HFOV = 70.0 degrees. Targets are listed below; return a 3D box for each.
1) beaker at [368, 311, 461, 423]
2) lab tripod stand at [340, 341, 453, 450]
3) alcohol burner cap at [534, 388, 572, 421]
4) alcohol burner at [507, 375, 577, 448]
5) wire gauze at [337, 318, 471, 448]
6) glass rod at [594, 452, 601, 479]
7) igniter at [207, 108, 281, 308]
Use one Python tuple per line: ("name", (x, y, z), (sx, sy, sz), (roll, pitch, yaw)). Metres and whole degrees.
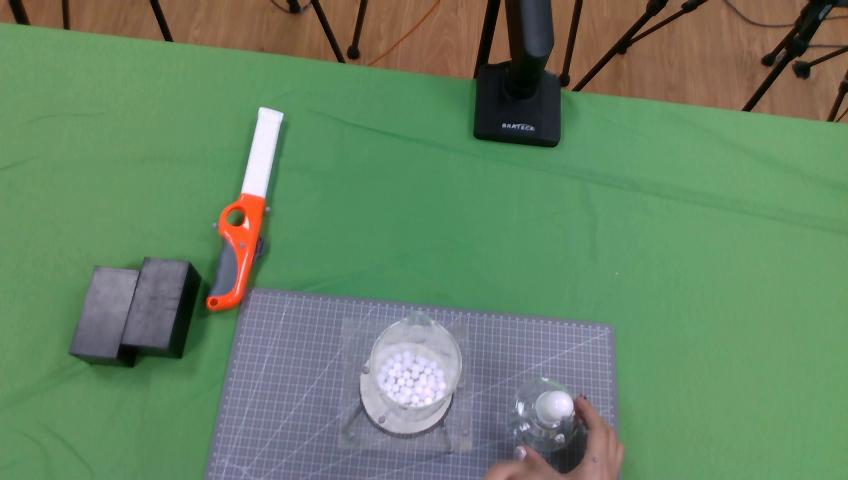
("beaker", (-0.011, 0.114, 0.523), (0.074, 0.101, 0.083), (3, 65, -3))
("lab tripod stand", (-0.023, 0.160, 0.628), (0.148, 0.132, 0.147), (1, 66, -3))
("alcohol burner cap", (0.132, 0.165, 0.611), (0.034, 0.048, 0.033), (2, 71, -5))
("alcohol burner", (0.129, 0.179, 0.645), (0.078, 0.120, 0.077), (1, 65, -3))
("wire gauze", (-0.018, 0.131, 0.568), (0.125, 0.011, 0.120), (2, 65, -3))
("glass rod", (0.188, 0.330, 0.644), (0.008, 0.008, 0.198), (5, 67, -3))
("igniter", (-0.220, -0.045, 0.755), (0.057, 0.025, 0.274), (13, 66, -16))
